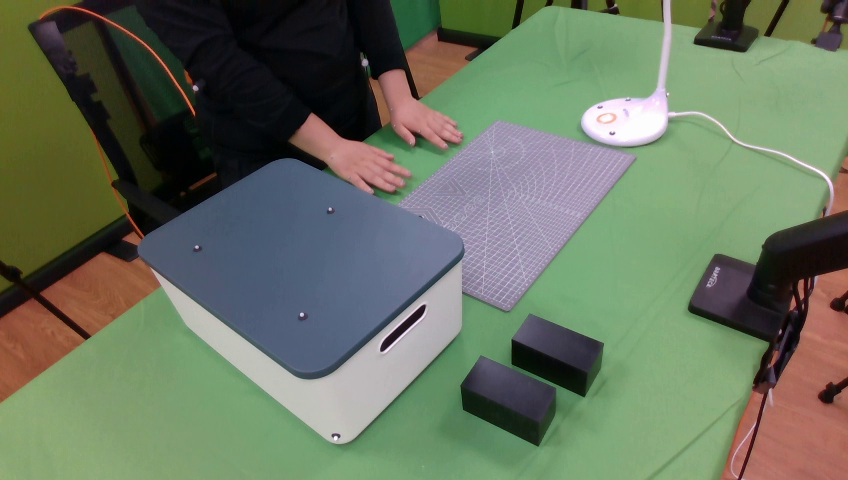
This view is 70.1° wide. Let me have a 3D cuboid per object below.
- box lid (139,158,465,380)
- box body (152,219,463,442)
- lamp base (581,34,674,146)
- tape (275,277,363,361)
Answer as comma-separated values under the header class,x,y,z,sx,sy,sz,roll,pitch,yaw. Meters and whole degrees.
class,x,y,z,sx,sy,sz,roll,pitch,yaw
box lid,-0.158,0.010,0.757,0.368,0.015,0.264,26,50,33
box body,-0.152,0.064,0.807,0.361,0.161,0.255,26,51,33
lamp base,0.392,-0.291,1.129,0.180,0.181,0.159,-11,41,-8
tape,-0.143,0.107,0.831,0.117,0.053,0.116,-4,41,4
